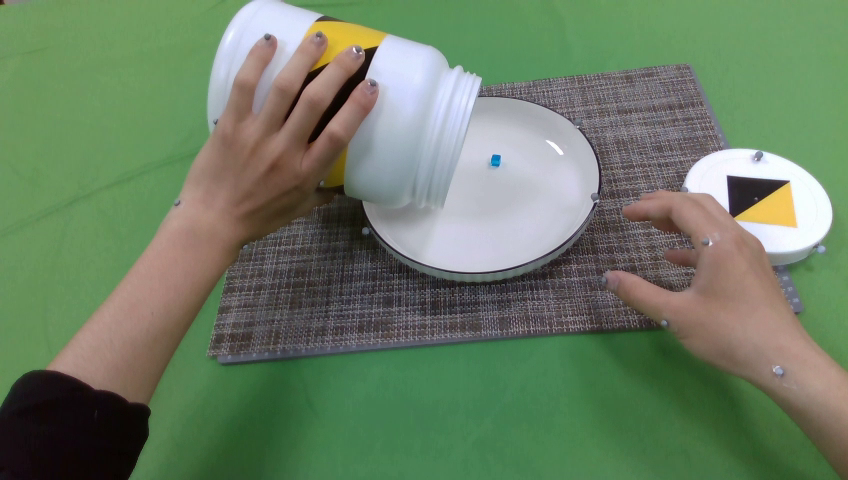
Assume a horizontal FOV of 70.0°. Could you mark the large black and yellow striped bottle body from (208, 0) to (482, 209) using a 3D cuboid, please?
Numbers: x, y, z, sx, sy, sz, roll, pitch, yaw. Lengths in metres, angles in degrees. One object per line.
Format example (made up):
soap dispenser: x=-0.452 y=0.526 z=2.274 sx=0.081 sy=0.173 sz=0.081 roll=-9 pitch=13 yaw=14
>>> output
large black and yellow striped bottle body: x=-0.056 y=-0.102 z=0.478 sx=0.184 sy=0.131 sz=0.130 roll=17 pitch=56 yaw=1

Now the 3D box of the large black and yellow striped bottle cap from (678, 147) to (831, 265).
large black and yellow striped bottle cap: x=0.271 y=-0.031 z=0.500 sx=0.115 sy=0.019 sz=0.114 roll=-2 pitch=54 yaw=2

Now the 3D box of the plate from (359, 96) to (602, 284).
plate: x=0.048 y=-0.045 z=0.531 sx=0.207 sy=0.039 sz=0.205 roll=-4 pitch=53 yaw=5
